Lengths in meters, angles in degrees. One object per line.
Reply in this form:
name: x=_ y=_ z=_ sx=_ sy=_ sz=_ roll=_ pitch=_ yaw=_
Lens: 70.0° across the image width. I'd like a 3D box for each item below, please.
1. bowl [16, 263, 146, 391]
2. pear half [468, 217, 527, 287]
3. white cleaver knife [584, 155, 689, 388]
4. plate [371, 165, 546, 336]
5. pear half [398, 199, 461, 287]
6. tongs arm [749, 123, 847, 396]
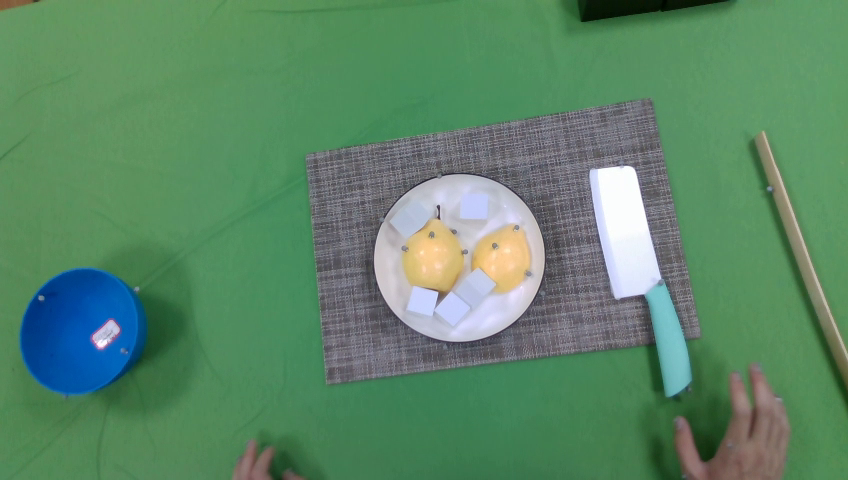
bowl: x=-0.404 y=0.108 z=0.746 sx=0.151 sy=0.077 sz=0.151 roll=-1 pitch=80 yaw=5
pear half: x=0.090 y=0.012 z=0.725 sx=0.070 sy=0.031 sz=0.088 roll=24 pitch=89 yaw=6
white cleaver knife: x=0.250 y=0.033 z=0.725 sx=0.066 sy=0.022 sz=0.285 roll=-14 pitch=76 yaw=13
plate: x=0.042 y=0.013 z=0.735 sx=0.207 sy=0.039 sz=0.207 roll=-1 pitch=80 yaw=6
pear half: x=0.007 y=-0.001 z=0.727 sx=0.076 sy=0.056 sz=0.109 roll=2 pitch=77 yaw=2
tongs arm: x=0.452 y=0.043 z=0.697 sx=0.028 sy=0.028 sz=0.385 roll=-16 pitch=79 yaw=1
